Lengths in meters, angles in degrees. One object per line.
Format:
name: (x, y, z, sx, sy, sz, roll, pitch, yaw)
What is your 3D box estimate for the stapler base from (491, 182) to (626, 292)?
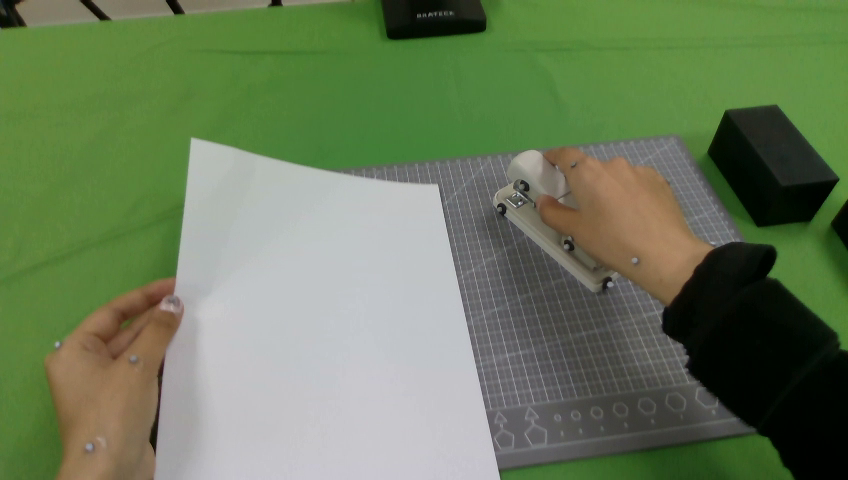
stapler base: (0.109, -0.012, 0.505, 0.041, 0.024, 0.129, -32, 58, -21)

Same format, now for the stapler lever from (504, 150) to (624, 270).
stapler lever: (0.110, -0.028, 0.485, 0.027, 0.040, 0.117, -32, 58, -21)
